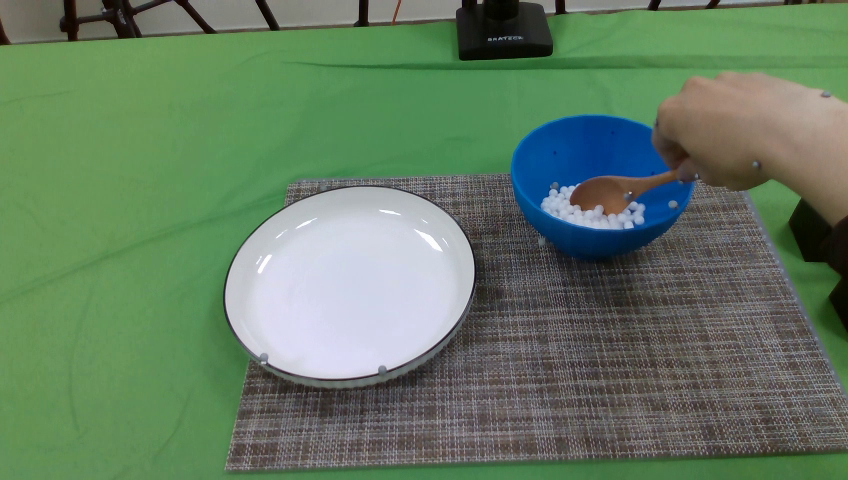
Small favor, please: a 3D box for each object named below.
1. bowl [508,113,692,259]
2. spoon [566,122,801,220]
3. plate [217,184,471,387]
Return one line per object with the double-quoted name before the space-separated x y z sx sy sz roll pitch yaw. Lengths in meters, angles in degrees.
"bowl" 0.148 -0.036 0.536 0.151 0.077 0.150 -2 48 2
"spoon" 0.194 -0.052 0.481 0.021 0.193 0.042 -29 97 -37
"plate" -0.064 0.036 0.512 0.207 0.039 0.205 -1 48 2
